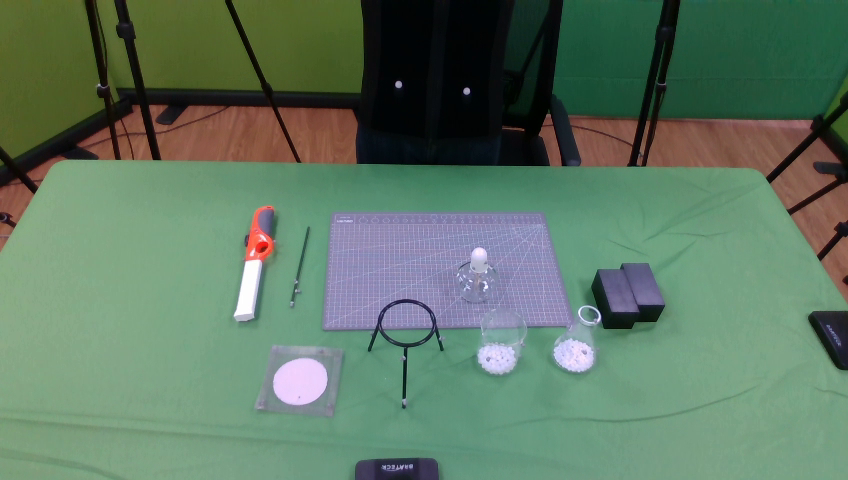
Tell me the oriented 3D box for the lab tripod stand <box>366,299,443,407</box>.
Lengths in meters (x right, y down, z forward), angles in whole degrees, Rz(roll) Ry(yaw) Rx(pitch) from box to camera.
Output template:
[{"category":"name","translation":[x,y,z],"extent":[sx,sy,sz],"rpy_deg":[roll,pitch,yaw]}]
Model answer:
[{"category":"lab tripod stand","translation":[-0.028,0.165,0.960],"extent":[0.148,0.132,0.147],"rpy_deg":[3,44,-2]}]

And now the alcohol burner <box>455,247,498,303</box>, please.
[{"category":"alcohol burner","translation":[0.095,0.057,1.085],"extent":[0.078,0.120,0.077],"rpy_deg":[1,47,-1]}]

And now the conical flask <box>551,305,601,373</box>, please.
[{"category":"conical flask","translation":[0.257,0.158,0.998],"extent":[0.075,0.122,0.075],"rpy_deg":[2,46,-2]}]

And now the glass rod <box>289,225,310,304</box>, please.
[{"category":"glass rod","translation":[-0.235,0.043,1.150],"extent":[0.008,0.008,0.198],"rpy_deg":[3,46,-1]}]

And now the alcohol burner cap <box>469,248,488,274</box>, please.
[{"category":"alcohol burner cap","translation":[0.095,0.034,1.057],"extent":[0.034,0.048,0.033],"rpy_deg":[-3,52,3]}]

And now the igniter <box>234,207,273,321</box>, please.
[{"category":"igniter","translation":[-0.319,0.035,1.137],"extent":[0.057,0.025,0.274],"rpy_deg":[-7,46,3]}]

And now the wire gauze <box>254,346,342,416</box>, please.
[{"category":"wire gauze","translation":[-0.201,0.223,0.978],"extent":[0.125,0.011,0.121],"rpy_deg":[4,45,1]}]

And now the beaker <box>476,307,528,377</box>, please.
[{"category":"beaker","translation":[0.122,0.171,0.991],"extent":[0.084,0.101,0.073],"rpy_deg":[-34,56,-30]}]
